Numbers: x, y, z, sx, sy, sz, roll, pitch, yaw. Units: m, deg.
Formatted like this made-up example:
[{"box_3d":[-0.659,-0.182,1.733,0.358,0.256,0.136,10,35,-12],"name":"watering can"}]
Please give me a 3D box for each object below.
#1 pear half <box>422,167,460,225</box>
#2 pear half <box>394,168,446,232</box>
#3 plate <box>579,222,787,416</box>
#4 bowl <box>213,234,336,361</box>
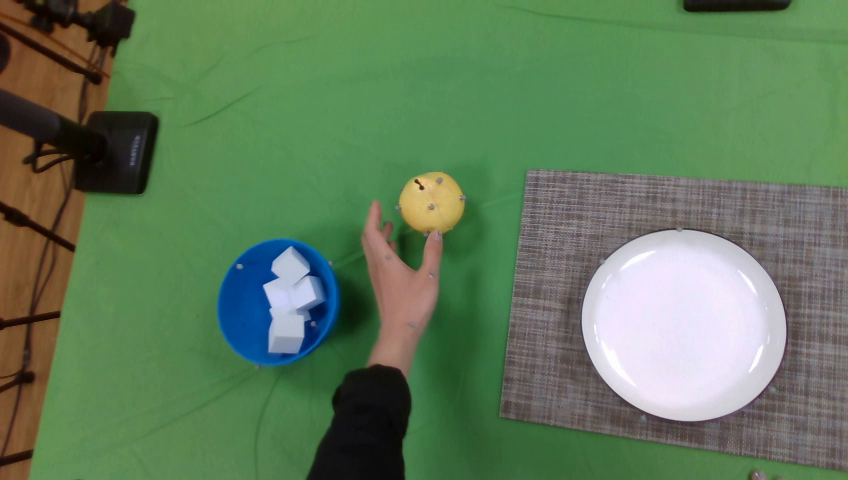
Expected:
[{"box_3d":[0.025,-0.058,0.720,0.031,0.089,0.070,-21,66,8],"name":"pear half"},{"box_3d":[-0.011,-0.049,0.716,0.056,0.111,0.075,-21,65,6],"name":"pear half"},{"box_3d":[0.276,0.085,0.662,0.207,0.039,0.206,-2,79,12],"name":"plate"},{"box_3d":[-0.170,0.073,0.744,0.151,0.077,0.150,-2,79,12],"name":"bowl"}]
